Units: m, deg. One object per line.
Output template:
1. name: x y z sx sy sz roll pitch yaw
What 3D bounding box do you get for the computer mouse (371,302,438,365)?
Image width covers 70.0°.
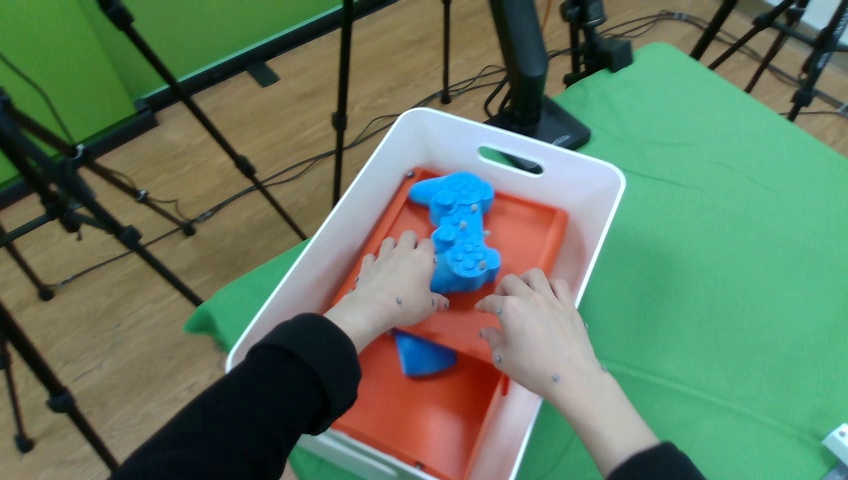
1. computer mouse: -0.020 0.096 0.662 0.063 0.041 0.116 -5 16 8

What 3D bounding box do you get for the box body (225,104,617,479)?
1. box body: 0.016 0.061 0.624 0.253 0.162 0.362 20 58 14

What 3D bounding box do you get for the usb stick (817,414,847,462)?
1. usb stick: 0.418 0.201 0.588 0.021 0.027 0.058 -29 62 -23

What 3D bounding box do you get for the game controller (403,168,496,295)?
1. game controller: 0.026 -0.016 0.658 0.097 0.052 0.153 0 55 -2
